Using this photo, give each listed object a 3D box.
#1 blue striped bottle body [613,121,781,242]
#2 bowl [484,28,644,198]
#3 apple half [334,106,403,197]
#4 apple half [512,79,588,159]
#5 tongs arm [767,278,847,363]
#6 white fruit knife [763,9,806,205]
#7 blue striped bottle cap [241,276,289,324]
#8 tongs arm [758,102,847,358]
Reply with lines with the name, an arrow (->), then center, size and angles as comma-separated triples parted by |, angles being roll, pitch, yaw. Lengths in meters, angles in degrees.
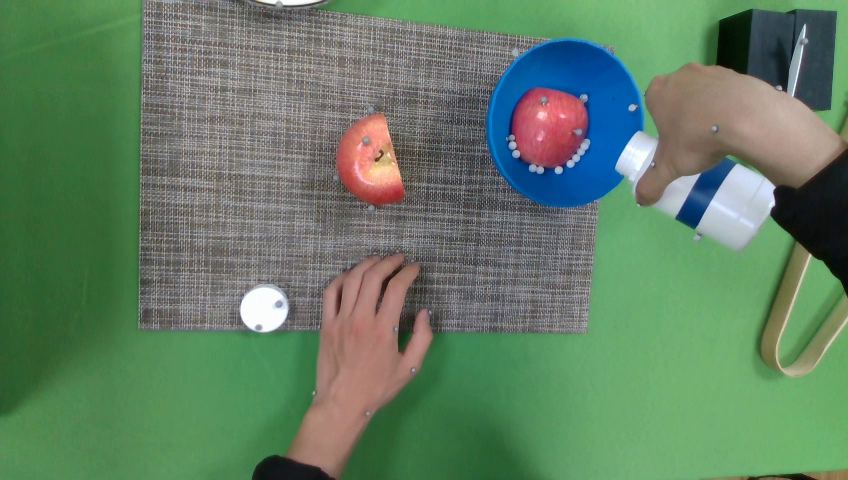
blue striped bottle body -> 0.220, -0.054, 0.501 | 0.120, 0.063, 0.063 | 33, 90, 18
bowl -> 0.121, -0.117, 0.580 | 0.152, 0.076, 0.151 | -2, 98, -11
apple half -> -0.054, -0.076, 0.550 | 0.053, 0.074, 0.081 | -16, 104, -6
apple half -> 0.124, -0.115, 0.576 | 0.081, 0.032, 0.081 | -1, 96, -11
tongs arm -> 0.531, -0.014, 0.709 | 0.051, 0.026, 0.384 | 32, 91, -13
white fruit knife -> 0.372, -0.130, 0.632 | 0.016, 0.027, 0.209 | -1, 115, 6
blue striped bottle cap -> -0.151, 0.058, 0.576 | 0.045, 0.020, 0.044 | -2, 97, -14
tongs arm -> 0.460, -0.051, 0.693 | 0.028, 0.027, 0.387 | 18, 94, -16
